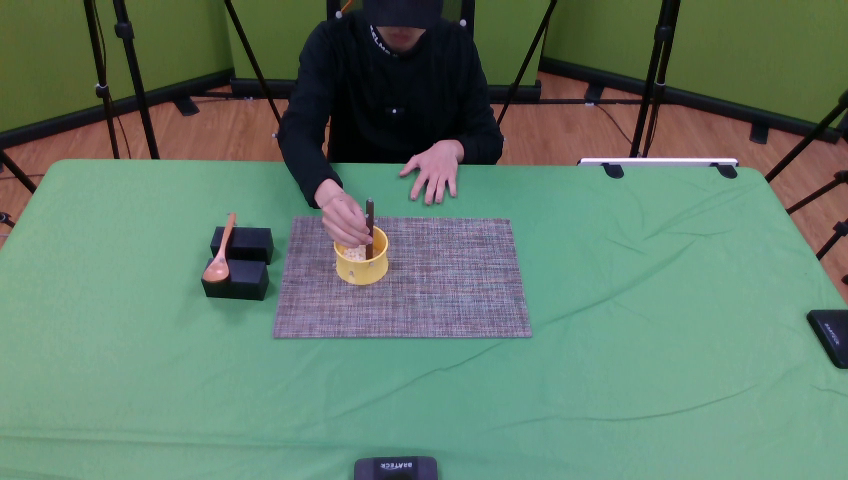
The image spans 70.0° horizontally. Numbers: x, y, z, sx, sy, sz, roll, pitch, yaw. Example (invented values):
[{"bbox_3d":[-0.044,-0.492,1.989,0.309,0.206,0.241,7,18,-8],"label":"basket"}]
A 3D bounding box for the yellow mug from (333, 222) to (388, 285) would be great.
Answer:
[{"bbox_3d":[-0.126,0.015,1.139,0.100,0.064,0.130,-24,51,-24],"label":"yellow mug"}]

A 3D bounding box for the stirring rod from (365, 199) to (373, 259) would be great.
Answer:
[{"bbox_3d":[-0.098,-0.003,1.072,0.014,0.177,0.006,21,45,16],"label":"stirring rod"}]

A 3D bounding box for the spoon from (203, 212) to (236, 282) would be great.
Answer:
[{"bbox_3d":[-0.361,0.009,1.097,0.041,0.022,0.192,0,44,-3],"label":"spoon"}]
